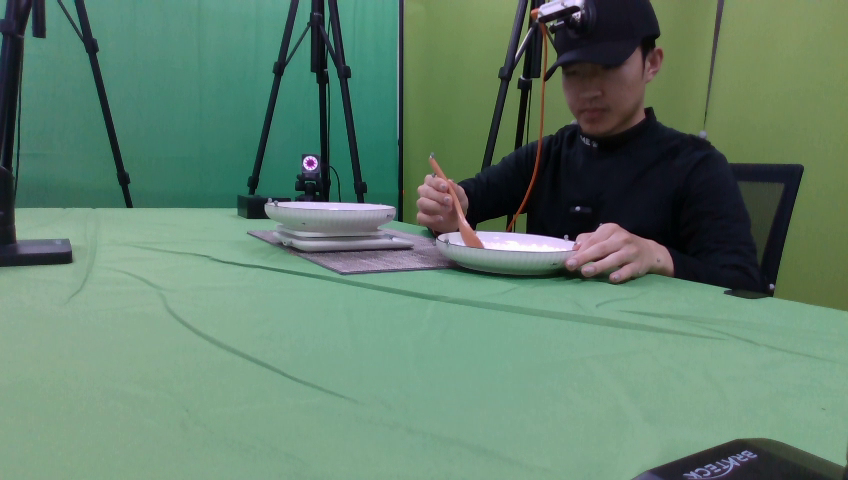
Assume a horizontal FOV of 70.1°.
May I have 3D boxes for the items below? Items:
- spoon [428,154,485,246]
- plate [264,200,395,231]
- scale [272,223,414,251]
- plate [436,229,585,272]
[{"bbox_3d":[0.046,-0.057,0.906,0.022,0.193,0.041,-14,-32,-14],"label":"spoon"},{"bbox_3d":[-0.150,-0.040,0.972,0.208,0.039,0.207,2,7,0],"label":"plate"},{"bbox_3d":[-0.131,-0.008,0.984,0.202,0.031,0.148,-2,8,-32],"label":"scale"},{"bbox_3d":[0.121,0.015,0.856,0.209,0.038,0.209,3,7,0],"label":"plate"}]
